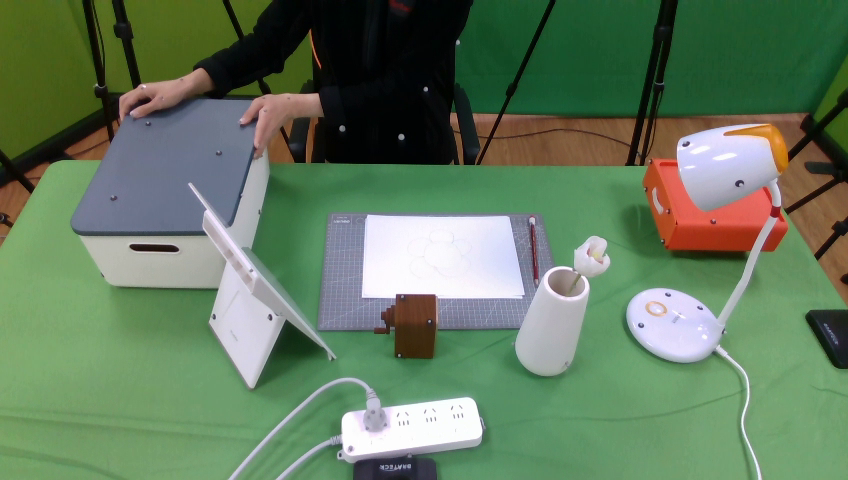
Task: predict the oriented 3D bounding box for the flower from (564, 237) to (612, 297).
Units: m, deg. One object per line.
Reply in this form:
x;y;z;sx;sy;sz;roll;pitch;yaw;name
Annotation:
0.206;0.088;0.893;0.038;0.363;0.044;-17;67;-9;flower

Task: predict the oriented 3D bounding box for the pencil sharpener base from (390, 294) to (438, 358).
-0.018;0.143;1.000;0.077;0.107;0.061;1;46;-2;pencil sharpener base

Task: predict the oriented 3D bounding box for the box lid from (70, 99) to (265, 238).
-0.443;-0.141;1.087;0.263;0.015;0.369;0;47;-1;box lid

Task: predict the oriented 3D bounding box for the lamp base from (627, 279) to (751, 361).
0.459;0.100;1.027;0.178;0.181;0.160;27;51;17;lamp base

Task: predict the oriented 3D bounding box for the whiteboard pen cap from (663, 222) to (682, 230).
0.487;-0.027;1.188;0.033;0.018;0.018;0;46;-16;whiteboard pen cap

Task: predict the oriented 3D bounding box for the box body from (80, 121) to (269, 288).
-0.447;-0.086;1.148;0.254;0.161;0.361;1;46;-3;box body

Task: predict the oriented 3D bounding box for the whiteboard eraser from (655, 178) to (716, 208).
0.538;-0.095;1.251;0.113;0.042;0.055;4;52;-10;whiteboard eraser

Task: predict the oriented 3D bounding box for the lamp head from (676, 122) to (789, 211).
0.423;-0.104;0.819;0.122;0.113;0.112;-13;33;40;lamp head

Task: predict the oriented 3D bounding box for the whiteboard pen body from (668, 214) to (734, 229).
0.547;-0.035;1.200;0.141;0.017;0.017;-8;48;-9;whiteboard pen body

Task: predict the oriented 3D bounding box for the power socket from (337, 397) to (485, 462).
-0.018;0.285;0.915;0.227;0.033;0.071;-5;46;-8;power socket

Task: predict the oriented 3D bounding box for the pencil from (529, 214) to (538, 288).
0.218;0.019;1.202;0.012;0.012;0.193;5;48;1;pencil

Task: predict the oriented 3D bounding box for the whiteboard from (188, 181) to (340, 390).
-0.292;0.096;0.929;0.144;0.307;0.216;-38;57;-10;whiteboard

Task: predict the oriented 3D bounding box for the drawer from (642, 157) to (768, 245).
0.564;-0.075;1.210;0.212;0.073;0.193;3;45;-1;drawer

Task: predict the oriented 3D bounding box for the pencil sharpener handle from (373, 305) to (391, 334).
-0.069;0.133;0.989;0.030;0.068;0.036;1;47;-2;pencil sharpener handle

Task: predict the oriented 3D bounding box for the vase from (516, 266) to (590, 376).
0.208;0.132;0.964;0.098;0.201;0.097;3;46;-3;vase

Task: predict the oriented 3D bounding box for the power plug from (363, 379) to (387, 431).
-0.072;0.252;0.910;0.035;0.053;0.072;3;45;-1;power plug

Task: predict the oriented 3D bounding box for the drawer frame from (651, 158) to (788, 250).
0.571;-0.074;1.213;0.214;0.083;0.200;1;46;0;drawer frame
